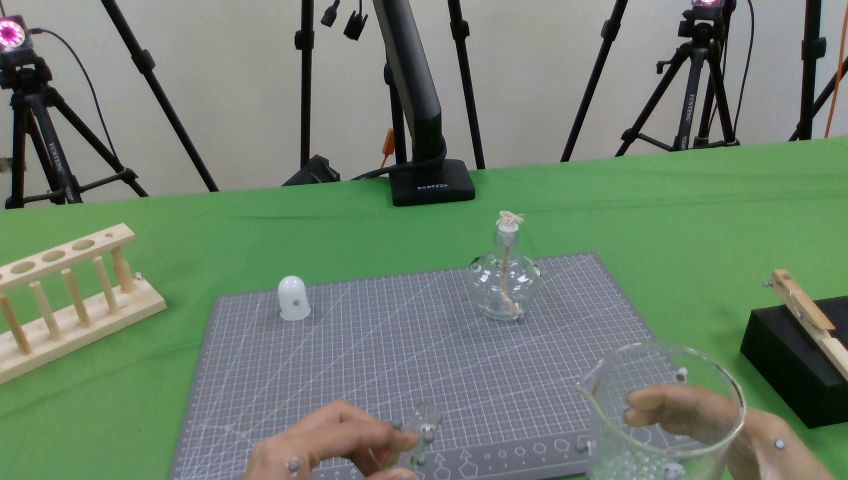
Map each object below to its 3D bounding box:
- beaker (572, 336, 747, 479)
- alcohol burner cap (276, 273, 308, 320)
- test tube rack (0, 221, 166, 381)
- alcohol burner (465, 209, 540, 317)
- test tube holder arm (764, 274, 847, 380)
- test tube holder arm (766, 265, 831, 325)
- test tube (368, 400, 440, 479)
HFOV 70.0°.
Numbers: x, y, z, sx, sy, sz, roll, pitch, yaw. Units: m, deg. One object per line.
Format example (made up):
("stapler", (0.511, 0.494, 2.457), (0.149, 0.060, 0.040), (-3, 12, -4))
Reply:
("beaker", (0.123, 0.114, 0.335), (0.083, 0.101, 0.073), (6, 37, 17))
("alcohol burner cap", (-0.143, 0.058, 0.645), (0.034, 0.048, 0.033), (-2, 32, 2))
("test tube rack", (-0.399, 0.072, 0.604), (0.242, 0.086, 0.066), (-27, 40, -34))
("alcohol burner", (0.081, 0.020, 0.623), (0.078, 0.120, 0.077), (0, 32, 0))
("test tube holder arm", (0.338, 0.080, 0.515), (0.015, 0.013, 0.177), (-1, 32, 1))
("test tube holder arm", (0.339, 0.051, 0.550), (0.015, 0.010, 0.087), (-1, 33, 1))
("test tube", (-0.028, 0.146, 0.346), (0.017, 0.151, 0.017), (21, 28, -11))
